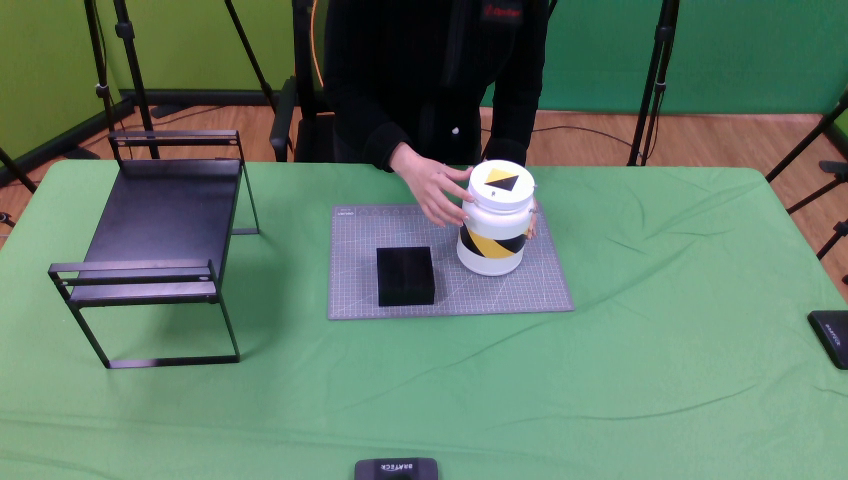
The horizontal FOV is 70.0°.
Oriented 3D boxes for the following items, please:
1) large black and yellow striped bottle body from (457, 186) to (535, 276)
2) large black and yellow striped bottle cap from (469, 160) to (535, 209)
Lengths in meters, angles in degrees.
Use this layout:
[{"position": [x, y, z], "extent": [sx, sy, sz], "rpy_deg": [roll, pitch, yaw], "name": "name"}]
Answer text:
[{"position": [0.133, -0.038, 1.125], "extent": [0.131, 0.185, 0.130], "rpy_deg": [2, 46, -2], "name": "large black and yellow striped bottle body"}, {"position": [0.137, -0.099, 1.061], "extent": [0.115, 0.019, 0.114], "rpy_deg": [3, 45, -3], "name": "large black and yellow striped bottle cap"}]
